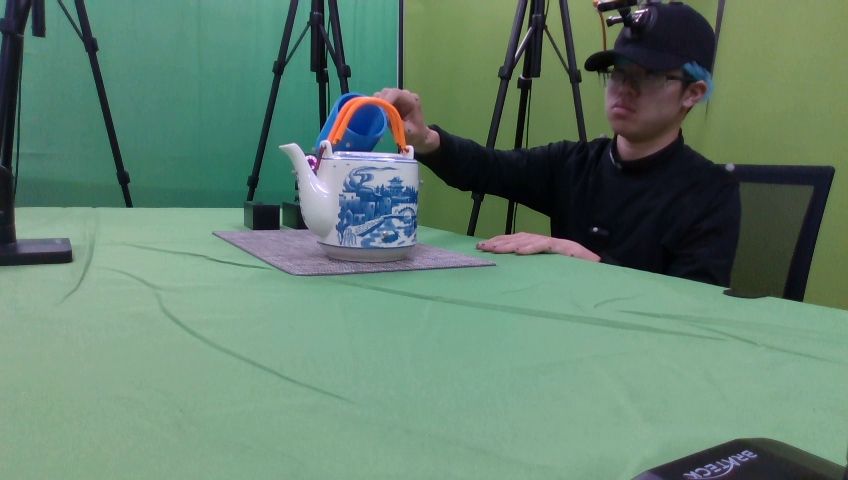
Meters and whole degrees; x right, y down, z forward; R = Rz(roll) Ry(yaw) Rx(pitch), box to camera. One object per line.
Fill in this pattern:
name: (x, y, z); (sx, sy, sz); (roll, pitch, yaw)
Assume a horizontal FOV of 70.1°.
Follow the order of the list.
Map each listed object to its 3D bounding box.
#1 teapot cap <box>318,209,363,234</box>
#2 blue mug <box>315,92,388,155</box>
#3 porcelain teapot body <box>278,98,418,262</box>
teapot cap: (-0.158, -0.036, 1.144); (0.085, 0.044, 0.085); (0, 6, 0)
blue mug: (-0.104, -0.171, 0.944); (0.117, 0.082, 0.105); (-34, -6, -37)
porcelain teapot body: (-0.103, -0.086, 0.842); (0.206, 0.225, 0.144); (-4, 9, -38)
